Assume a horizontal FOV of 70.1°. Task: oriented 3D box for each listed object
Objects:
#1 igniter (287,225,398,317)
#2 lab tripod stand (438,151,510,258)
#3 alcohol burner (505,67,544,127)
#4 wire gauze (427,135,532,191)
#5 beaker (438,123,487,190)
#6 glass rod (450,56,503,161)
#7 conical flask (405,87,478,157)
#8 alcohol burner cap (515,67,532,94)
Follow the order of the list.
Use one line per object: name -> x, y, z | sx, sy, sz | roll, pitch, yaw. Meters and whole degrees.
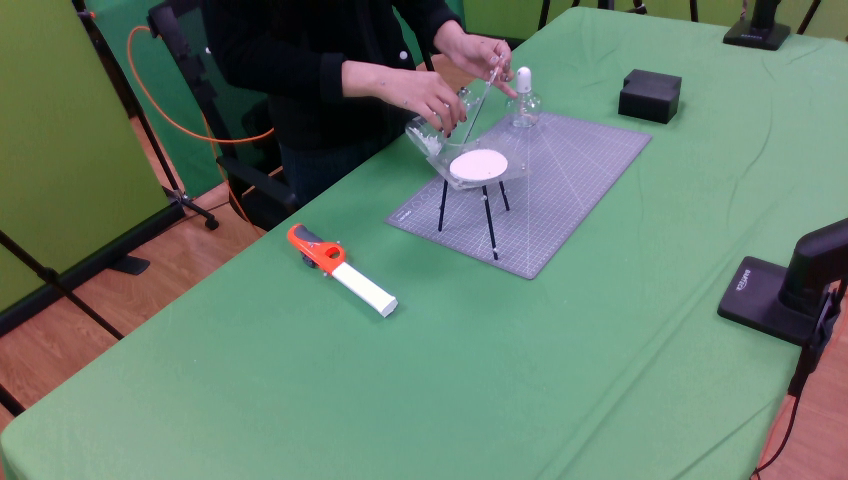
igniter -> -0.139, 0.041, 0.957 | 0.057, 0.025, 0.274 | -42, 49, -19
lab tripod stand -> 0.087, -0.064, 0.952 | 0.148, 0.132, 0.147 | -6, 38, 5
alcohol burner -> 0.201, -0.288, 1.211 | 0.078, 0.119, 0.077 | -6, 38, 5
wire gauze -> 0.081, -0.115, 0.909 | 0.125, 0.011, 0.120 | -18, 39, -11
beaker -> 0.072, -0.147, 1.080 | 0.084, 0.101, 0.073 | -5, 40, 6
glass rod -> 0.088, -0.220, 1.033 | 0.008, 0.199, 0.008 | 23, 19, -8
conical flask -> 0.033, -0.201, 1.002 | 0.122, 0.076, 0.074 | -44, 47, -6
alcohol burner cap -> 0.197, -0.315, 1.187 | 0.034, 0.048, 0.033 | -3, 46, 3
